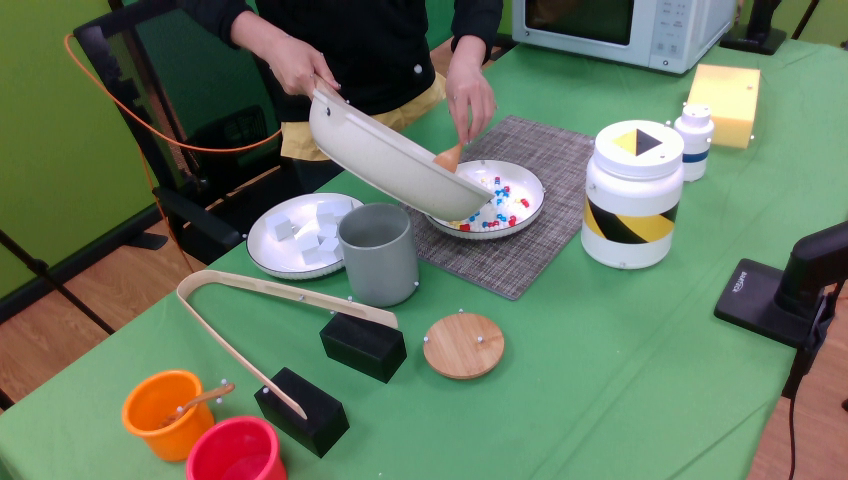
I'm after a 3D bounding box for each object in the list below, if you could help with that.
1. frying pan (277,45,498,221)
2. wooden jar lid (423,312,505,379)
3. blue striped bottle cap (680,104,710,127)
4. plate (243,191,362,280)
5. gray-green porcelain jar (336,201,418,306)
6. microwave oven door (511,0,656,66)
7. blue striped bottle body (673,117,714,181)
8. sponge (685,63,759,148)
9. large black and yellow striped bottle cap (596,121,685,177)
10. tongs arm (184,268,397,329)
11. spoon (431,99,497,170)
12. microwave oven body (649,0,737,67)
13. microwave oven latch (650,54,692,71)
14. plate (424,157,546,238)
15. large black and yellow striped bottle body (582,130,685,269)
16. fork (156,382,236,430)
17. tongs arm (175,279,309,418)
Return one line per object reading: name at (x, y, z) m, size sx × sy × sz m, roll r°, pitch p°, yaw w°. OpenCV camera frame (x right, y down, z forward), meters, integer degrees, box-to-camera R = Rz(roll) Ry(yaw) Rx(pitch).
frying pan at (-0.096, -0.178, 0.909) m, size 0.102 × 0.309 × 0.484 m, roll -52°, pitch 56°, yaw 14°
wooden jar lid at (0.053, 0.142, 0.800) m, size 0.108 × 0.021 × 0.108 m, roll -5°, pitch 39°, yaw 4°
blue striped bottle cap at (0.443, -0.205, 0.989) m, size 0.044 × 0.021 × 0.044 m, roll -1°, pitch 41°, yaw 2°
plate at (-0.187, -0.005, 0.992) m, size 0.207 × 0.039 × 0.206 m, roll -4°, pitch 41°, yaw 4°
gray-green porcelain jar at (-0.064, 0.024, 0.872) m, size 0.106 × 0.127 × 0.105 m, roll -4°, pitch 41°, yaw 4°
microwave oven door at (0.351, -0.540, 1.349) m, size 0.353 × 0.245 × 0.039 m, roll 24°, pitch 50°, yaw 31°
blue striped bottle body at (0.449, -0.165, 1.022) m, size 0.063 × 0.121 × 0.063 m, roll -5°, pitch 41°, yaw 4°
sponge at (0.569, -0.263, 1.164) m, size 0.117 × 0.061 × 0.207 m, roll 12°, pitch 45°, yaw 22°
large black and yellow striped bottle cap at (0.293, -0.126, 0.821) m, size 0.115 × 0.019 × 0.114 m, roll -5°, pitch 40°, yaw 4°
tongs arm at (-0.202, 0.084, 0.847) m, size 0.382 × 0.027 × 0.051 m, roll 11°, pitch 44°, yaw 34°
spoon at (0.067, -0.173, 0.997) m, size 0.194 × 0.042 × 0.021 m, roll -53°, pitch 15°, yaw -28°
microwave oven body at (0.475, -0.602, 1.411) m, size 0.438 × 0.261 × 0.327 m, roll 23°, pitch 50°, yaw 32°
microwave oven latch at (0.531, -0.386, 1.301) m, size 0.078 × 0.029 × 0.030 m, roll 24°, pitch 50°, yaw 32°
plate at (0.099, -0.067, 1.017) m, size 0.209 × 0.038 × 0.208 m, roll -4°, pitch 40°, yaw 4°
large black and yellow striped bottle body at (0.301, -0.063, 0.877) m, size 0.131 × 0.185 × 0.130 m, roll -4°, pitch 41°, yaw 4°
fork at (-0.262, 0.189, 0.690) m, size 0.018 × 0.206 × 0.028 m, roll 49°, pitch 43°, yaw -7°
tongs arm at (-0.255, 0.132, 0.800) m, size 0.028 × 0.028 × 0.384 m, roll -41°, pitch 40°, yaw -23°
